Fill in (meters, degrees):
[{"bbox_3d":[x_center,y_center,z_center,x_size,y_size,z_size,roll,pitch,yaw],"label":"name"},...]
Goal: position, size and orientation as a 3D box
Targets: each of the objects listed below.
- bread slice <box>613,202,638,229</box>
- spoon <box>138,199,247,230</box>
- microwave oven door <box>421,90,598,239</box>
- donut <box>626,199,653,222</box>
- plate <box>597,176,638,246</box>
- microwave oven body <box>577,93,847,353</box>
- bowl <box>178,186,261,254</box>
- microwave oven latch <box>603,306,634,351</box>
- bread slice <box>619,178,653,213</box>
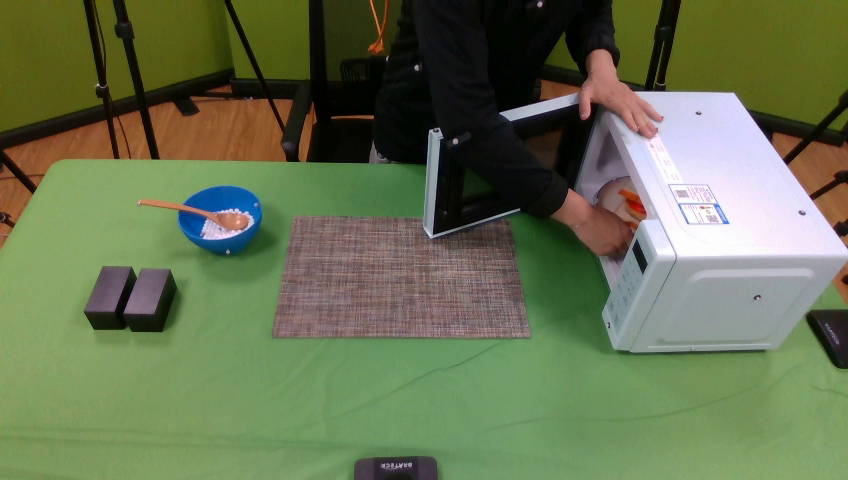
[{"bbox_3d":[0.449,-0.043,1.171,0.134,0.018,0.107,30,57,21],"label":"bread slice"},{"bbox_3d":[-0.431,-0.053,1.135,0.194,0.022,0.041,15,48,-20],"label":"spoon"},{"bbox_3d":[0.166,-0.147,1.182,0.356,0.245,0.039,-18,49,-20],"label":"microwave oven door"},{"bbox_3d":[0.435,-0.059,1.156,0.099,0.048,0.098,10,38,-8],"label":"donut"},{"bbox_3d":[0.439,-0.045,1.179,0.208,0.039,0.206,2,46,-1],"label":"plate"},{"bbox_3d":[0.475,-0.042,1.109,0.326,0.261,0.438,-1,45,-4],"label":"microwave oven body"},{"bbox_3d":[-0.383,-0.026,1.158,0.151,0.077,0.150,2,46,-2],"label":"bowl"},{"bbox_3d":[0.332,0.153,1.044,0.030,0.029,0.078,0,45,-3],"label":"microwave oven latch"},{"bbox_3d":[0.449,-0.081,1.137,0.131,0.019,0.105,35,48,29],"label":"bread slice"}]
